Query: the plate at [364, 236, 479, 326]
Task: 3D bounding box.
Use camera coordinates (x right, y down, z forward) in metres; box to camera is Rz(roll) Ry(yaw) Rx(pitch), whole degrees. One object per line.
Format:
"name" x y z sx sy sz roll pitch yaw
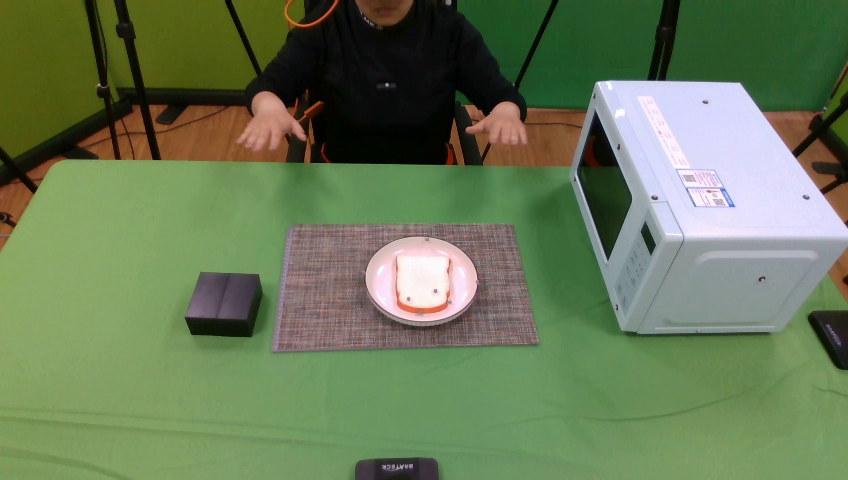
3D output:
"plate" -0.004 0.078 1.107 0.209 0.038 0.208 2 46 -2

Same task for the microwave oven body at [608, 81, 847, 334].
"microwave oven body" 0.501 -0.070 1.132 0.326 0.261 0.438 -1 45 -4

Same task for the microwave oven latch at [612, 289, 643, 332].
"microwave oven latch" 0.357 0.124 1.068 0.030 0.029 0.078 0 45 -3

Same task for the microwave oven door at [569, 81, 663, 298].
"microwave oven door" 0.353 -0.104 1.147 0.039 0.245 0.353 0 46 -4

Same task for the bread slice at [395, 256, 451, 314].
"bread slice" -0.001 0.079 1.109 0.105 0.019 0.130 1 45 -2
